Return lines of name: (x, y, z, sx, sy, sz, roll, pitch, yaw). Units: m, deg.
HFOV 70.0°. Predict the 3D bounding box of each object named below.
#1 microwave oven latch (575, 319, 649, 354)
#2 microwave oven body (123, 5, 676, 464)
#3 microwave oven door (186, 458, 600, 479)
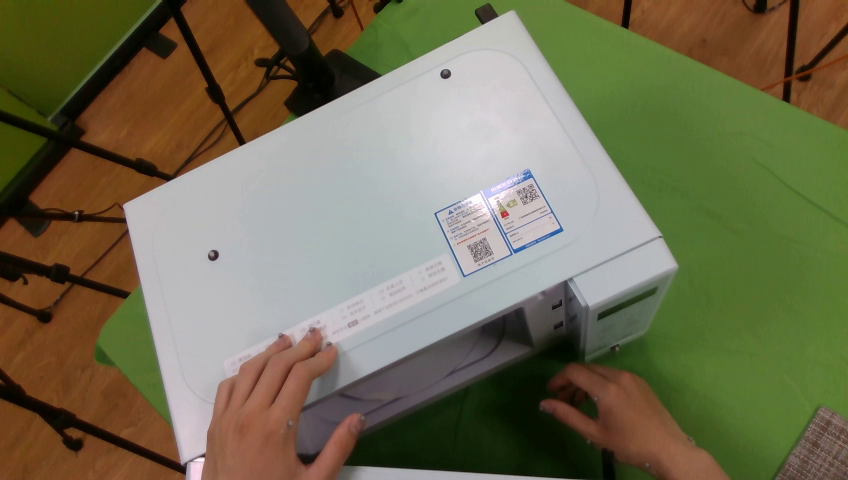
microwave oven latch: (0.209, 0.099, 0.676, 0.079, 0.030, 0.030, -24, 66, 4)
microwave oven body: (-0.028, 0.021, 0.655, 0.442, 0.262, 0.323, -26, 66, 3)
microwave oven door: (0.001, 0.228, 0.563, 0.355, 0.246, 0.039, -1, 67, 13)
